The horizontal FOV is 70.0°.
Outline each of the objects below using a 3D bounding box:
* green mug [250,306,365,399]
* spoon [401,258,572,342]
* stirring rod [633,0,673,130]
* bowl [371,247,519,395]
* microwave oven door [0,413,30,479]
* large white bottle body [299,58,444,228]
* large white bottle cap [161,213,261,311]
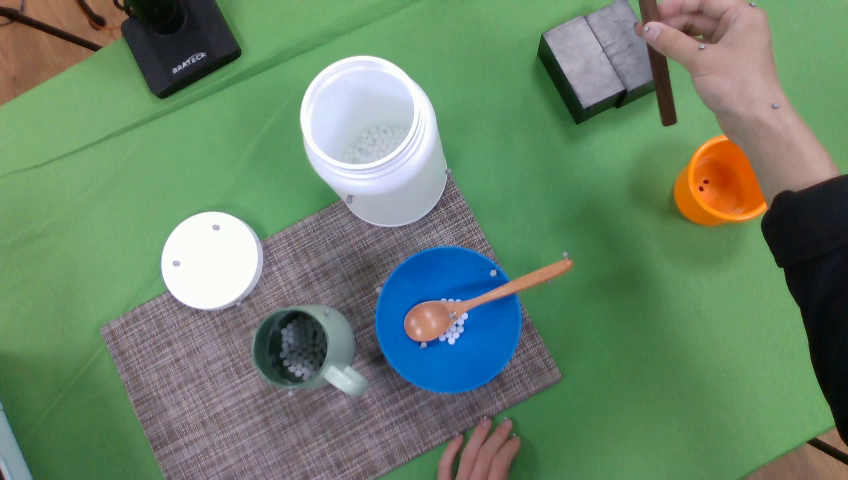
[{"bbox_3d":[-0.115,0.125,0.640,0.125,0.105,0.092,35,85,8],"label":"green mug"},{"bbox_3d":[0.061,0.061,0.621,0.193,0.022,0.041,-24,84,24],"label":"spoon"},{"bbox_3d":[0.188,-0.170,0.507,0.014,0.005,0.178,-15,123,16],"label":"stirring rod"},{"bbox_3d":[0.024,0.086,0.649,0.151,0.077,0.151,-1,82,4],"label":"bowl"},{"bbox_3d":[-0.419,0.337,0.548,0.039,0.244,0.354,-30,81,0],"label":"microwave oven door"},{"bbox_3d":[-0.050,-0.094,0.625,0.130,0.185,0.130,-1,78,6],"label":"large white bottle body"},{"bbox_3d":[-0.249,0.026,0.706,0.115,0.018,0.114,-1,81,4],"label":"large white bottle cap"}]
